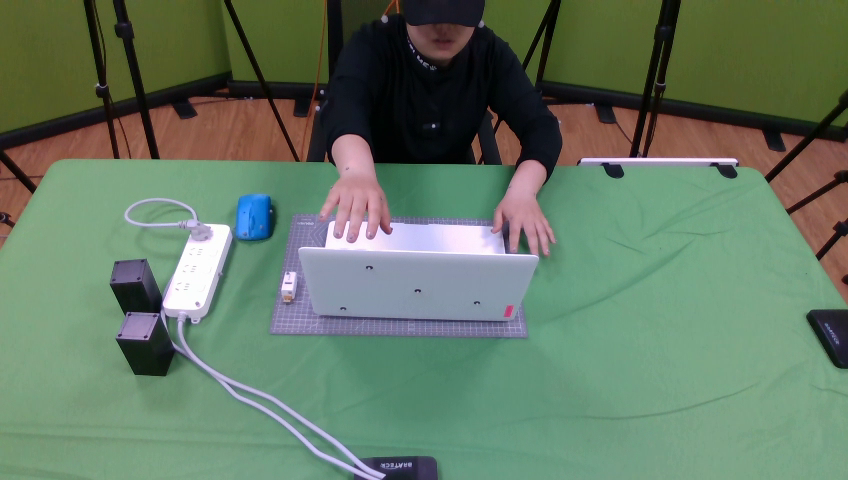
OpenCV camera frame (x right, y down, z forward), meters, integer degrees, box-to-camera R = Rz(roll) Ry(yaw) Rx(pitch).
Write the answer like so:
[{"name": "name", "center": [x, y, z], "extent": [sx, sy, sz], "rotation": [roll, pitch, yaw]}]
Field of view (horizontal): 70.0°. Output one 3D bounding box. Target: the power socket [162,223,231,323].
[{"name": "power socket", "center": [-0.411, 0.051, 1.107], "extent": [0.072, 0.033, 0.225], "rotation": [4, 46, -2]}]

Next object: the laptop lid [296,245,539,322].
[{"name": "laptop lid", "center": [-0.013, 0.076, 0.961], "extent": [0.357, 0.243, 0.013], "rotation": [3, 58, -3]}]

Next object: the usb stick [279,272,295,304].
[{"name": "usb stick", "center": [-0.246, 0.087, 1.085], "extent": [0.021, 0.027, 0.059], "rotation": [3, 47, -2]}]

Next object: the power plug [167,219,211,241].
[{"name": "power plug", "center": [-0.438, -0.017, 1.144], "extent": [0.072, 0.053, 0.035], "rotation": [9, 43, 7]}]

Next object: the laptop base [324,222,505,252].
[{"name": "laptop base", "center": [-0.018, 0.055, 1.144], "extent": [0.354, 0.023, 0.234], "rotation": [2, 43, -2]}]

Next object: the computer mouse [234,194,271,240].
[{"name": "computer mouse", "center": [-0.341, -0.049, 1.207], "extent": [0.063, 0.041, 0.116], "rotation": [0, 50, -7]}]
